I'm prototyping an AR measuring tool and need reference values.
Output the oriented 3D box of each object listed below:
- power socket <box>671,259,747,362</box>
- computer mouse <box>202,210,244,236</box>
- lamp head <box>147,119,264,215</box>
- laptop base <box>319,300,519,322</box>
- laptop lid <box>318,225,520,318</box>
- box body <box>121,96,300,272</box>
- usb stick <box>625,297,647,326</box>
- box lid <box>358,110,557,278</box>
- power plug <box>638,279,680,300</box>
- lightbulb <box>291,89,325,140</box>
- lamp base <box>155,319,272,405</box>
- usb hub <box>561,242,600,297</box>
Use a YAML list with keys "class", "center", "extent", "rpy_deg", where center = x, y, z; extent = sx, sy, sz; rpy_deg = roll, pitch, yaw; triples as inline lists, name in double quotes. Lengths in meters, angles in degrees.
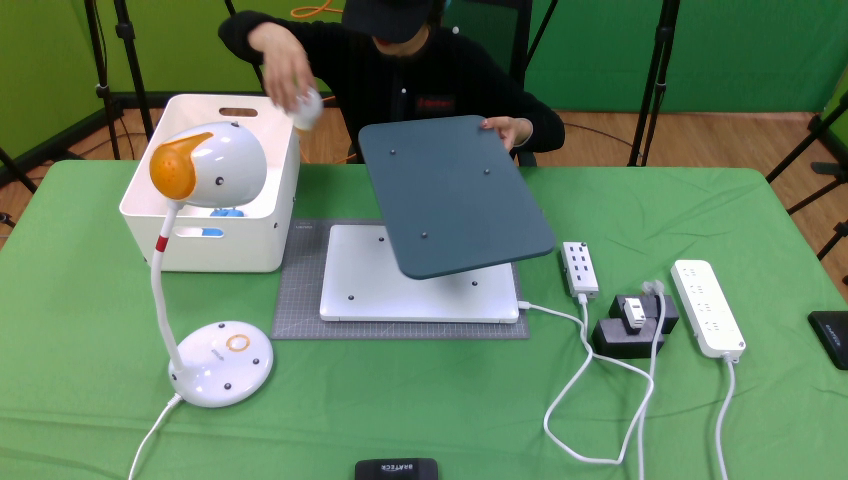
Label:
- class: "power socket"
  center: [0.516, 0.119, 1.108]
  extent: [0.072, 0.033, 0.225]
  rpy_deg: [1, 46, -2]
- class: "computer mouse"
  center: [-0.389, -0.022, 1.171]
  extent: [0.063, 0.041, 0.116]
  rpy_deg: [-1, 41, -2]
- class: "lamp head"
  center: [-0.276, -0.087, 0.740]
  extent: [0.112, 0.112, 0.123]
  rpy_deg: [20, 23, 15]
- class: "laptop base"
  center: [-0.009, 0.063, 1.137]
  extent: [0.354, 0.023, 0.234]
  rpy_deg: [1, 42, -3]
- class: "laptop lid"
  center: [-0.009, 0.053, 1.131]
  extent: [0.357, 0.013, 0.240]
  rpy_deg: [2, 43, -2]
- class: "box body"
  center: [-0.387, -0.112, 1.182]
  extent: [0.254, 0.161, 0.361]
  rpy_deg: [1, 46, -3]
- class: "usb stick"
  center: [0.360, 0.116, 1.034]
  extent: [0.021, 0.027, 0.059]
  rpy_deg: [-2, 44, -2]
- class: "box lid"
  center: [0.047, -0.095, 1.040]
  extent: [0.263, 0.015, 0.369]
  rpy_deg: [-10, 51, -12]
- class: "power plug"
  center: [0.434, 0.099, 1.119]
  extent: [0.073, 0.053, 0.035]
  rpy_deg: [34, 38, -17]
- class: "lightbulb"
  center: [-0.211, -0.224, 1.098]
  extent: [0.059, 0.108, 0.059]
  rpy_deg: [8, 52, -10]
- class: "lamp base"
  center: [-0.330, 0.149, 0.918]
  extent: [0.160, 0.181, 0.179]
  rpy_deg: [26, 52, 20]
- class: "usb hub"
  center: [0.300, 0.055, 1.162]
  extent: [0.049, 0.025, 0.124]
  rpy_deg: [2, 46, -3]
